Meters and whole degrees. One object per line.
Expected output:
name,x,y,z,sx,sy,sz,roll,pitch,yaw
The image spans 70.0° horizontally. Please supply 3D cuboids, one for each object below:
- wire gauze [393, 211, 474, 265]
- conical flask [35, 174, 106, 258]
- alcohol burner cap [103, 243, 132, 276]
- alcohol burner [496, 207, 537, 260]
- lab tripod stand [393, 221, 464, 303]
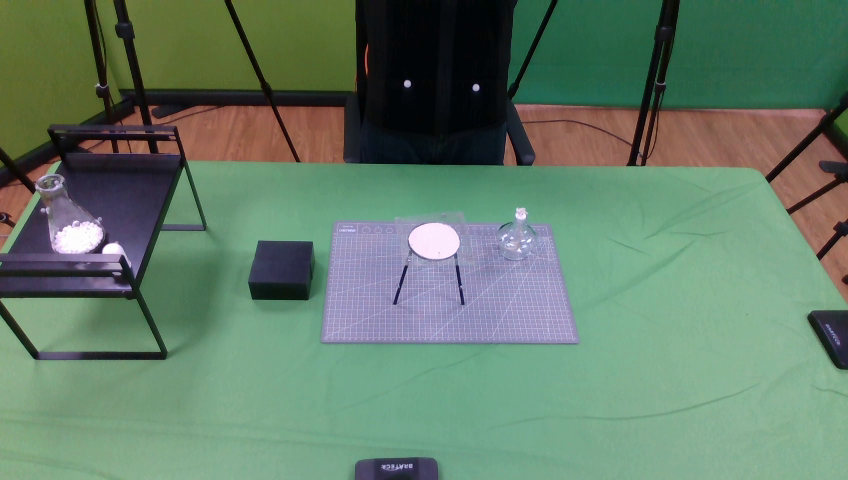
wire gauze,0.015,-0.003,1.028,0.125,0.011,0.120,-4,47,-7
conical flask,-0.518,-0.038,0.875,0.075,0.122,0.075,2,46,-2
alcohol burner cap,-0.446,0.025,0.875,0.034,0.048,0.033,3,45,-3
alcohol burner,0.180,-0.018,1.163,0.078,0.120,0.077,1,48,-1
lab tripod stand,0.010,0.045,1.074,0.148,0.132,0.147,2,48,-2
